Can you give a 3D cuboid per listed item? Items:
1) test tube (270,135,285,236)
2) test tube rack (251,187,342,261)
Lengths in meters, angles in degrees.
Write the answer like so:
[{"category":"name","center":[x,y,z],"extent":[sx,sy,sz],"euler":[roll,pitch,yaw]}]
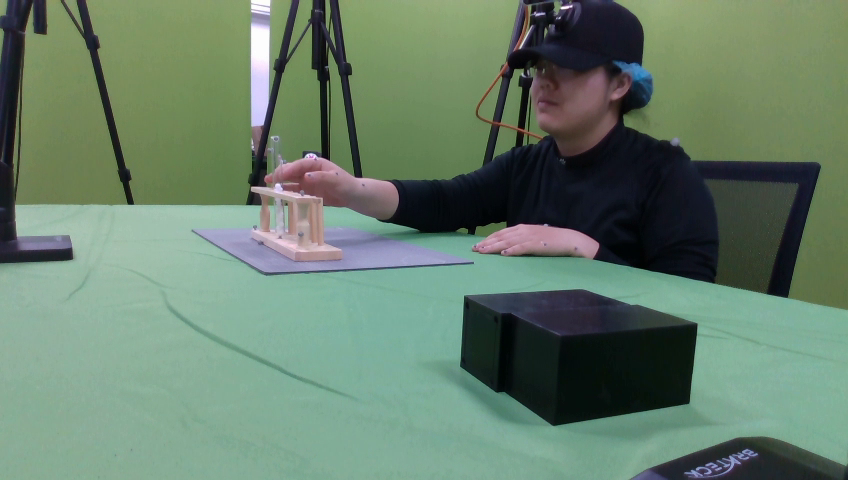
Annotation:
[{"category":"test tube","center":[-0.219,-0.081,0.904],"extent":[0.017,0.150,0.017],"euler":[-2,4,0]},{"category":"test tube rack","center":[-0.196,-0.030,0.902],"extent":[0.067,0.085,0.241],"euler":[-2,8,-29]}]
